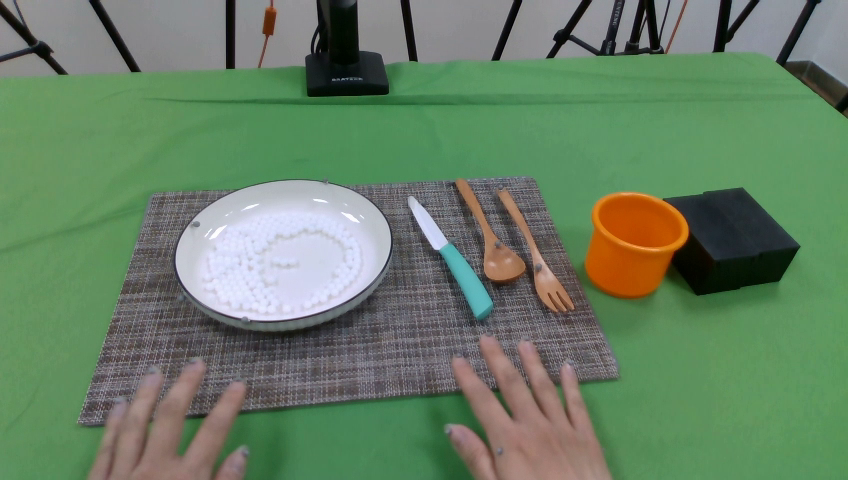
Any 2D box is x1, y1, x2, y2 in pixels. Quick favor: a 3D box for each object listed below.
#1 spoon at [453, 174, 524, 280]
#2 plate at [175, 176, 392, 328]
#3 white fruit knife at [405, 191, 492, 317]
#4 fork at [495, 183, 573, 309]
[{"bbox_3d":[0.063,-0.021,0.664,0.041,0.022,0.191,-19,45,-1],"label":"spoon"},{"bbox_3d":[-0.135,0.010,0.604,0.209,0.038,0.207,2,42,-1],"label":"plate"},{"bbox_3d":[0.020,0.005,0.636,0.027,0.016,0.205,-3,40,-26],"label":"white fruit knife"},{"bbox_3d":[0.111,0.000,0.647,0.028,0.019,0.205,-13,46,-5],"label":"fork"}]
